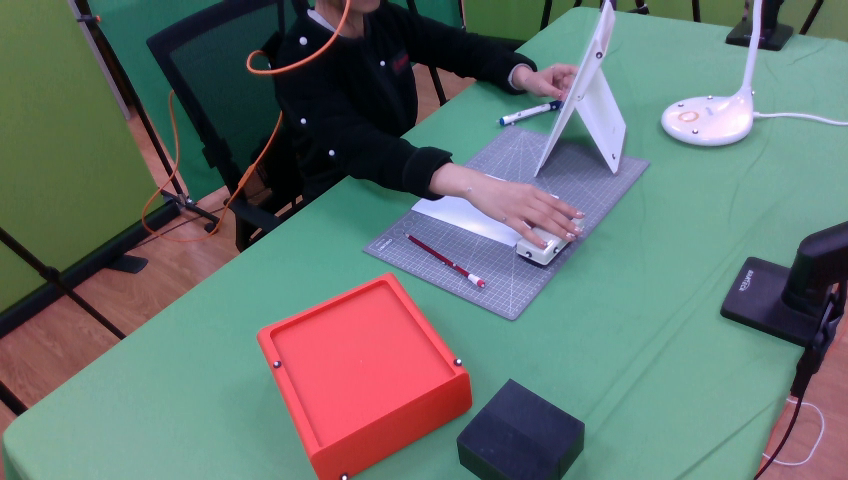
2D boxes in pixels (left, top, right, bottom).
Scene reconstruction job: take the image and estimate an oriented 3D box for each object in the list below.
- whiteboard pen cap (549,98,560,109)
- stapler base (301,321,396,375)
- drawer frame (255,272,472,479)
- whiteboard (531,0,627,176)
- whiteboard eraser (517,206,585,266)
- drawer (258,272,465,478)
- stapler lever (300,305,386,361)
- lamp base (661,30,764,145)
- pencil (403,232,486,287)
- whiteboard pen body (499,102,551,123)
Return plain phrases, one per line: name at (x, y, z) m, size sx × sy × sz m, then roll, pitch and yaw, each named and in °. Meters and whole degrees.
whiteboard pen cap at (0.276, -0.287, 1.269) m, size 0.033 × 0.018 × 0.018 m, roll -17°, pitch 41°, yaw -13°
stapler base at (-0.103, 0.138, 0.814) m, size 0.131 × 0.024 × 0.041 m, roll -20°, pitch 38°, yaw -12°
drawer frame at (-0.079, 0.161, 0.760) m, size 0.202 × 0.083 × 0.211 m, roll -24°, pitch 43°, yaw -18°
whiteboard at (0.322, -0.259, 1.050) m, size 0.143 × 0.306 × 0.217 m, roll 22°, pitch 46°, yaw 6°
whiteboard eraser at (0.196, -0.005, 0.931) m, size 0.055 × 0.042 × 0.113 m, roll 24°, pitch 50°, yaw 36°
drawer at (-0.081, 0.159, 0.764) m, size 0.195 × 0.073 × 0.210 m, roll -23°, pitch 43°, yaw -17°
stapler lever at (-0.107, 0.121, 0.799) m, size 0.118 × 0.040 × 0.026 m, roll -19°, pitch 38°, yaw -13°
lamp base at (0.535, -0.287, 1.096) m, size 0.179 × 0.181 × 0.159 m, roll -10°, pitch 40°, yaw -4°
pencil at (0.026, 0.027, 0.948) m, size 0.012 × 0.012 × 0.192 m, roll -34°, pitch 45°, yaw -26°
whiteboard pen body at (0.220, -0.268, 1.257) m, size 0.141 × 0.017 × 0.017 m, roll -19°, pitch 41°, yaw -14°
